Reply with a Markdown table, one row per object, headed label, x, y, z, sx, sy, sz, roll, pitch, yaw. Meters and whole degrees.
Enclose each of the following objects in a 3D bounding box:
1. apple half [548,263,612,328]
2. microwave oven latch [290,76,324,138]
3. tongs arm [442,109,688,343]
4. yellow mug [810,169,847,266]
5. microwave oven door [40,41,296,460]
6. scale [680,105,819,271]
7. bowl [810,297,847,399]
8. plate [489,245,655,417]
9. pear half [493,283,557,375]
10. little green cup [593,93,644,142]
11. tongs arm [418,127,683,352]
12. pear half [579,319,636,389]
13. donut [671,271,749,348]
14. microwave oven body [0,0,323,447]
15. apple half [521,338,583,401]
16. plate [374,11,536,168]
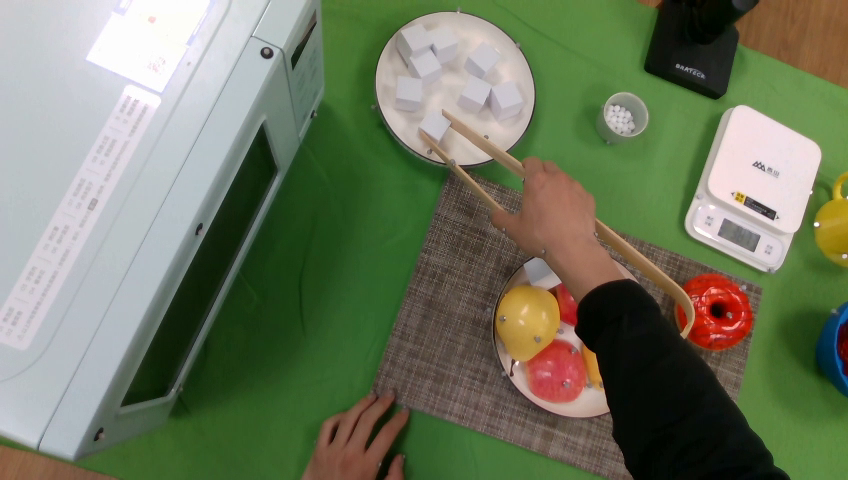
| label | x | y | z | sx | sy | sz | roll | pitch | yaw |
| --- | --- | --- | --- | --- | --- | --- | --- | --- | --- |
| apple half | 0.193 | 0.066 | 0.738 | 0.075 | 0.053 | 0.080 | 9 | 82 | -4 |
| microwave oven latch | -0.147 | -0.164 | 0.725 | 0.030 | 0.029 | 0.079 | 26 | 78 | -4 |
| tongs arm | 0.139 | -0.034 | 0.670 | 0.028 | 0.028 | 0.384 | -36 | 61 | -14 |
| yellow mug | 0.589 | -0.033 | 0.824 | 0.100 | 0.064 | 0.130 | -11 | 82 | -10 |
| microwave oven door | -0.217 | 0.015 | 0.579 | 0.039 | 0.244 | 0.354 | 23 | 77 | -4 |
| scale | 0.444 | -0.072 | 0.825 | 0.149 | 0.031 | 0.200 | 25 | 78 | -4 |
| bowl | 0.563 | 0.143 | 0.785 | 0.152 | 0.077 | 0.151 | 1 | 81 | -8 |
| plate | 0.179 | 0.110 | 0.746 | 0.209 | 0.038 | 0.208 | 2 | 80 | -9 |
| pear half | 0.119 | 0.108 | 0.715 | 0.077 | 0.056 | 0.109 | 16 | 82 | -15 |
| little green cup | 0.257 | -0.161 | 0.807 | 0.062 | 0.038 | 0.061 | 2 | 80 | -8 |
| tongs arm | 0.120 | -0.019 | 0.666 | 0.051 | 0.027 | 0.381 | -35 | 60 | -9 |
| pear half | 0.226 | 0.139 | 0.742 | 0.070 | 0.031 | 0.087 | 19 | 75 | 8 |
| donut | 0.364 | 0.089 | 0.775 | 0.099 | 0.048 | 0.098 | 1 | 79 | -6 |
| microwave oven body | -0.335 | -0.081 | 0.582 | 0.326 | 0.260 | 0.440 | 24 | 78 | -5 |
| apple half | 0.157 | 0.156 | 0.726 | 0.081 | 0.033 | 0.081 | 3 | 73 | -10 |
| plate | 0.039 | -0.189 | 0.778 | 0.208 | 0.039 | 0.207 | 2 | 80 | -9 |
